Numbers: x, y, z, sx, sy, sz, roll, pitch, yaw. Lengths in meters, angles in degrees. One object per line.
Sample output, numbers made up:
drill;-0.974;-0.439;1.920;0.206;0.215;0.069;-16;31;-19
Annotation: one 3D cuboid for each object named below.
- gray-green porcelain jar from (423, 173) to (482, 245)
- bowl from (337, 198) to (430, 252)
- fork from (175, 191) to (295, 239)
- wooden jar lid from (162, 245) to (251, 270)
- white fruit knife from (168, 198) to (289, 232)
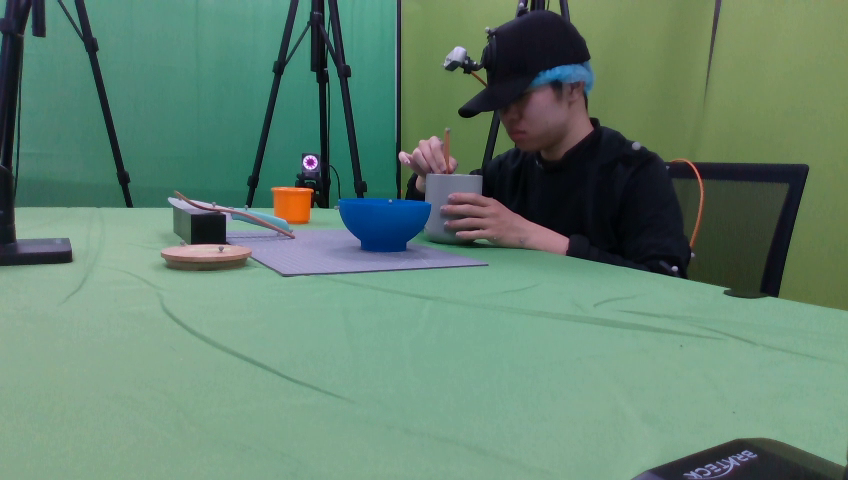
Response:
gray-green porcelain jar;0.052;-0.059;1.116;0.106;0.126;0.106;2;8;0
bowl;-0.066;-0.024;0.966;0.151;0.077;0.151;2;7;0
fork;-0.306;-0.039;0.993;0.208;0.018;0.028;19;-9;-34
wooden jar lid;-0.278;0.022;0.777;0.108;0.020;0.108;2;6;0
white fruit knife;-0.329;-0.044;1.036;0.208;0.027;0.016;14;-1;-32
